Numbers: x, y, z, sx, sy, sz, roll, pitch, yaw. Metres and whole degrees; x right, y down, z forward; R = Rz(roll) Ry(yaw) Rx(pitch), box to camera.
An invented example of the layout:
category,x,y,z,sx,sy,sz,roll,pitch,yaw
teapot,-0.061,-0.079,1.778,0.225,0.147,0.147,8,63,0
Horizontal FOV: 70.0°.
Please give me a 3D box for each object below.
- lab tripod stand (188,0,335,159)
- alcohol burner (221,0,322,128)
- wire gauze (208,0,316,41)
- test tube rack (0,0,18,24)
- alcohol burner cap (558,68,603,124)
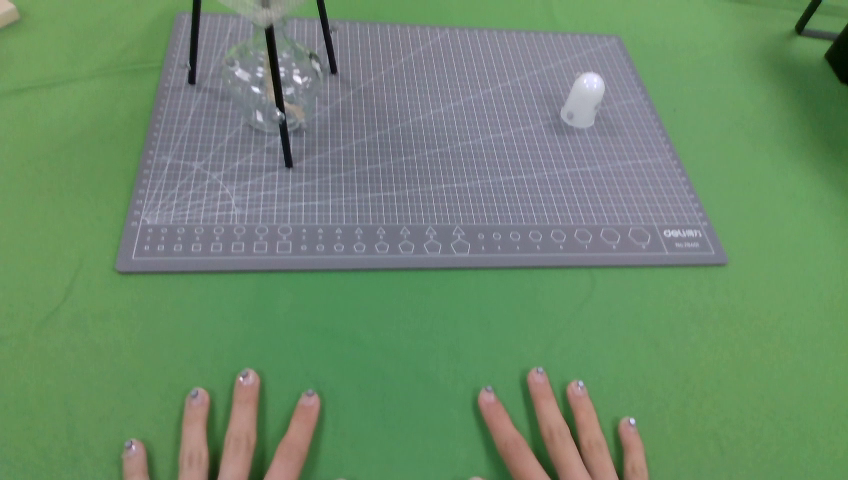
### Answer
category,x,y,z,sx,sy,sz,roll,pitch,yaw
lab tripod stand,-0.120,-0.157,0.462,0.149,0.132,0.147,6,53,-7
alcohol burner,-0.118,-0.146,0.466,0.078,0.120,0.077,6,52,-7
wire gauze,-0.113,-0.196,0.410,0.124,0.011,0.121,33,58,10
test tube rack,-0.449,-0.167,0.449,0.066,0.086,0.241,31,55,14
alcohol burner cap,0.143,-0.131,0.544,0.034,0.048,0.033,4,52,-5
